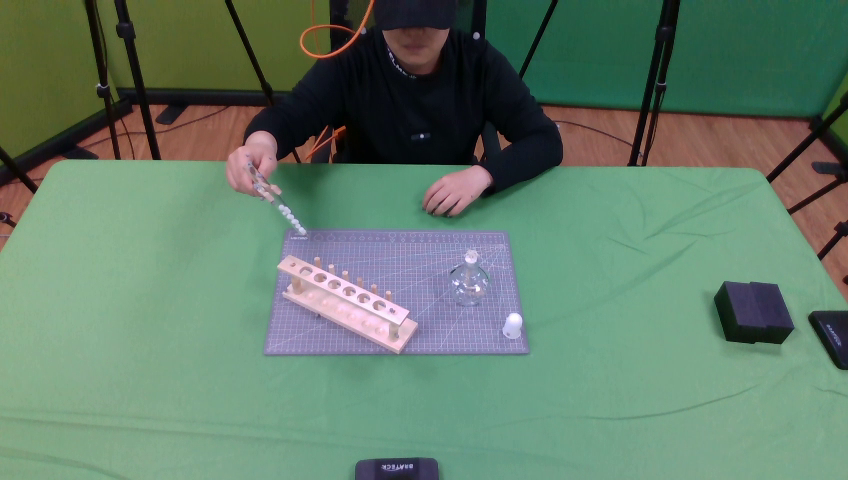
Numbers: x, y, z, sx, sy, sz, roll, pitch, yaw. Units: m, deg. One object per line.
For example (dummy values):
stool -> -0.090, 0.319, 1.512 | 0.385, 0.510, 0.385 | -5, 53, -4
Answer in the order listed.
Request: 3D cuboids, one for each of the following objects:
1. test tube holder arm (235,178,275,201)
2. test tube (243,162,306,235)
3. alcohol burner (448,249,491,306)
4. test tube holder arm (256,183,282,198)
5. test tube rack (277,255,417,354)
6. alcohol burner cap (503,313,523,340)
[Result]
test tube holder arm -> -0.272, -0.083, 0.968 | 0.013, 0.015, 0.177 | -33, 27, -24
test tube -> -0.225, -0.060, 0.924 | 0.017, 0.151, 0.017 | -19, 40, 17
alcohol burner -> 0.081, 0.062, 1.078 | 0.078, 0.120, 0.077 | 1, 45, -1
test tube holder arm -> -0.243, -0.077, 0.934 | 0.010, 0.015, 0.087 | -35, 28, -27
test tube rack -> -0.131, 0.099, 1.045 | 0.241, 0.085, 0.066 | 23, 49, 17
alcohol burner cap -> 0.156, 0.148, 1.051 | 0.034, 0.048, 0.033 | 1, 45, -1
